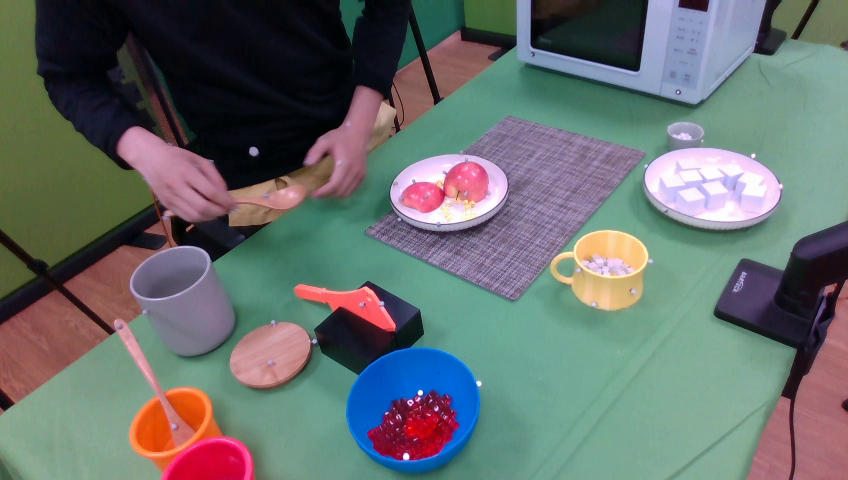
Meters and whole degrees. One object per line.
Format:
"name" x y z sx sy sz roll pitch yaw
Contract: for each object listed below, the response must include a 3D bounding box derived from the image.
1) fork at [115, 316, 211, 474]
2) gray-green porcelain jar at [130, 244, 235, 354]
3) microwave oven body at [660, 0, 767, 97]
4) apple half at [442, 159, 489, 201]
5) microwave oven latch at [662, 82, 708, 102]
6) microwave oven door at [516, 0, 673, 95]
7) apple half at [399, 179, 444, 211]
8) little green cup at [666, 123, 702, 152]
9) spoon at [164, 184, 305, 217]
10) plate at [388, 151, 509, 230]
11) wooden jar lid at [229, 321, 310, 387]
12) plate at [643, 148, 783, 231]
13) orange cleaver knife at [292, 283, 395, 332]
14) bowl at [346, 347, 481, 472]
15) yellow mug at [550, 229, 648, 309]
"fork" -0.308 0.179 0.708 0.028 0.018 0.207 -30 89 -22
"gray-green porcelain jar" -0.328 0.086 0.836 0.106 0.127 0.105 -4 41 4
"microwave oven body" 0.473 -0.517 1.313 0.438 0.261 0.327 26 51 34
"apple half" 0.074 -0.110 1.047 0.080 0.053 0.075 21 45 30
"microwave oven latch" 0.518 -0.298 1.203 0.078 0.029 0.030 28 53 35
"microwave oven door" 0.344 -0.458 1.256 0.353 0.245 0.039 26 51 33
"apple half" -0.004 -0.088 1.045 0.081 0.033 0.081 -2 43 2
"little green cup" 0.472 -0.183 1.102 0.061 0.039 0.061 -5 41 5
"spoon" -0.258 -0.052 0.826 0.194 0.022 0.041 -6 52 -3
"plate" 0.044 -0.082 1.042 0.209 0.038 0.208 -4 40 4
"wooden jar lid" -0.207 0.156 0.820 0.108 0.021 0.108 -3 39 3
"plate" 0.464 -0.079 0.986 0.207 0.039 0.206 -4 40 4
"orange cleaver knife" -0.115 0.092 0.835 0.209 0.077 0.012 1 32 48
"bowl" -0.008 0.205 0.691 0.151 0.077 0.150 -4 40 4
"yellow mug" 0.245 0.040 0.856 0.130 0.064 0.099 1 41 11
